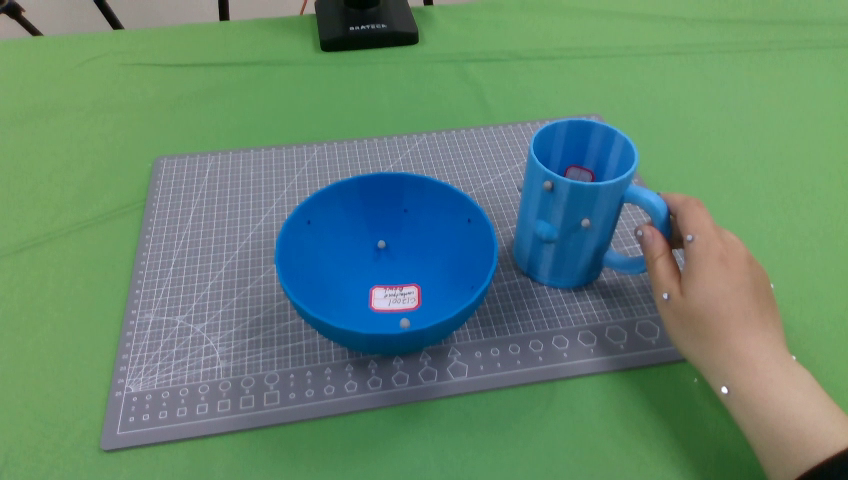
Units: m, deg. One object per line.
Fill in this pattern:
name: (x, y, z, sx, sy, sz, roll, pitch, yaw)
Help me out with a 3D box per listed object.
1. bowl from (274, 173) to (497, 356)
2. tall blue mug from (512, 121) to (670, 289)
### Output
bowl: (-0.025, 0.029, 0.433, 0.151, 0.077, 0.150, 1, 46, 0)
tall blue mug: (0.127, -0.022, 0.464, 0.107, 0.109, 0.077, 7, 46, 6)
